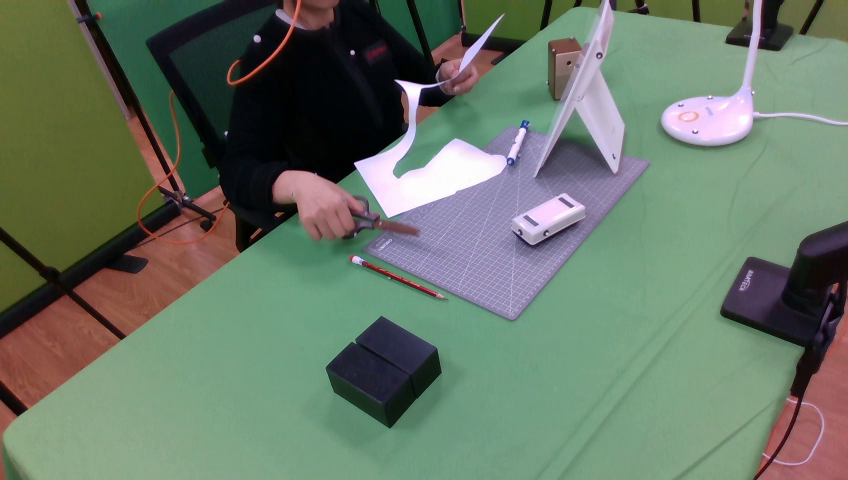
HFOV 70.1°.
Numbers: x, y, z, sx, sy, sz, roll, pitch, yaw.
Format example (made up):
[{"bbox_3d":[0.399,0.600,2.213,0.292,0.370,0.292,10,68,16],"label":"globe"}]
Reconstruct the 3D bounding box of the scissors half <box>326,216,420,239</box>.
[{"bbox_3d":[-0.083,-0.018,0.962,0.174,0.013,0.040,2,58,27],"label":"scissors half"}]

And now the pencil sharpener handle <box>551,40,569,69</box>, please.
[{"bbox_3d":[0.291,-0.409,1.320,0.036,0.068,0.030,2,40,-6],"label":"pencil sharpener handle"}]

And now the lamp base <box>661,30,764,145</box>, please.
[{"bbox_3d":[0.535,-0.287,1.096,0.179,0.181,0.159,-10,40,-4],"label":"lamp base"}]

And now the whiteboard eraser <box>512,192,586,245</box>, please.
[{"bbox_3d":[0.199,-0.032,0.962,0.113,0.042,0.055,-27,43,-20],"label":"whiteboard eraser"}]

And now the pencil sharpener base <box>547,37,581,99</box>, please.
[{"bbox_3d":[0.299,-0.368,1.290,0.061,0.107,0.076,-8,40,2],"label":"pencil sharpener base"}]

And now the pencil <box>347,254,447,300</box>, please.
[{"bbox_3d":[-0.044,0.058,0.932,0.192,0.012,0.012,22,49,29],"label":"pencil"}]

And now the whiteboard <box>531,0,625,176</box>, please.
[{"bbox_3d":[0.320,-0.258,1.050,0.144,0.306,0.217,22,45,5],"label":"whiteboard"}]

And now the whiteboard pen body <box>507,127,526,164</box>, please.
[{"bbox_3d":[0.181,-0.189,1.163,0.017,0.017,0.140,7,42,19],"label":"whiteboard pen body"}]

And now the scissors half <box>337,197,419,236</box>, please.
[{"bbox_3d":[-0.075,-0.036,0.970,0.173,0.013,0.040,25,75,35],"label":"scissors half"}]

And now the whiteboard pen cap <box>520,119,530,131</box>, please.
[{"bbox_3d":[0.199,-0.226,1.204,0.018,0.018,0.033,7,41,18],"label":"whiteboard pen cap"}]
